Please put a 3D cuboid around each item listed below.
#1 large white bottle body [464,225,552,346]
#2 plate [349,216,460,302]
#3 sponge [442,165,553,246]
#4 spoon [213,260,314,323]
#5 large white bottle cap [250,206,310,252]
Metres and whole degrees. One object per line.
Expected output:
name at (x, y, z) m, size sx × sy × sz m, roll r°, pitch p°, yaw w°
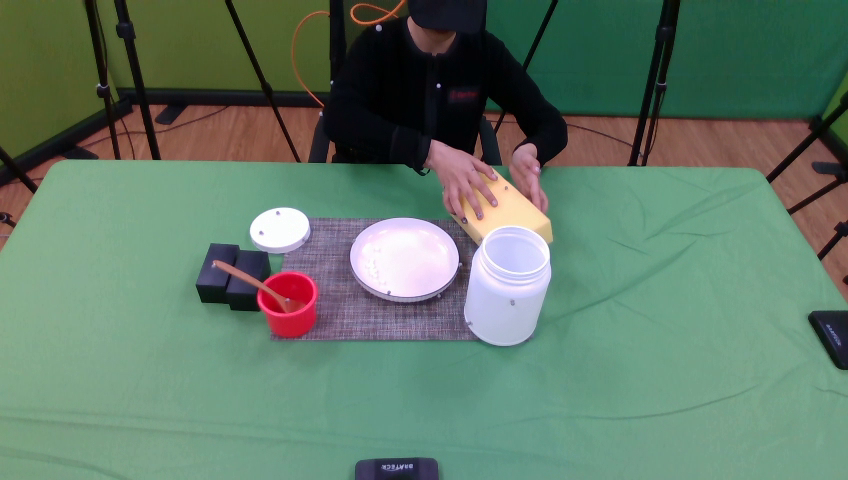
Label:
large white bottle body at (0.141, 0.076, 1.017) m, size 0.131 × 0.185 × 0.130 m, roll 2°, pitch 46°, yaw -2°
plate at (-0.038, 0.038, 1.143) m, size 0.209 × 0.038 × 0.208 m, roll 2°, pitch 46°, yaw -2°
sponge at (0.139, -0.048, 1.177) m, size 0.118 × 0.061 × 0.205 m, roll -31°, pitch 48°, yaw -10°
spoon at (-0.265, 0.083, 1.009) m, size 0.195 × 0.021 × 0.041 m, roll 40°, pitch 39°, yaw -28°
large white bottle cap at (-0.284, -0.023, 1.197) m, size 0.115 × 0.018 × 0.114 m, roll 1°, pitch 46°, yaw 0°
